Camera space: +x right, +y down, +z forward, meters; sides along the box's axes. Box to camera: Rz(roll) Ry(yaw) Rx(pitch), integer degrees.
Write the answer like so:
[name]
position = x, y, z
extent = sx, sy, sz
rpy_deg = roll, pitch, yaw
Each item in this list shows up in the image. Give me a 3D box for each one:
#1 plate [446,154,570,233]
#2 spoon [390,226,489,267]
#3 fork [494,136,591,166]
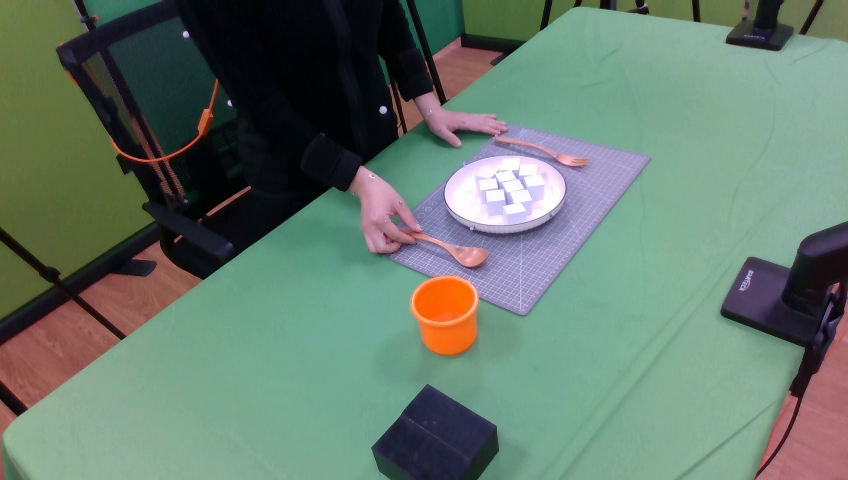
[plate]
position = 0.142, -0.076, 1.033
extent = 0.207, 0.039, 0.206
rpy_deg = -5, 40, 5
[spoon]
position = 0.020, 0.005, 0.971
extent = 0.192, 0.022, 0.042
rpy_deg = 22, 52, 31
[fork]
position = 0.219, -0.171, 1.144
extent = 0.205, 0.019, 0.028
rpy_deg = 24, 56, 31
